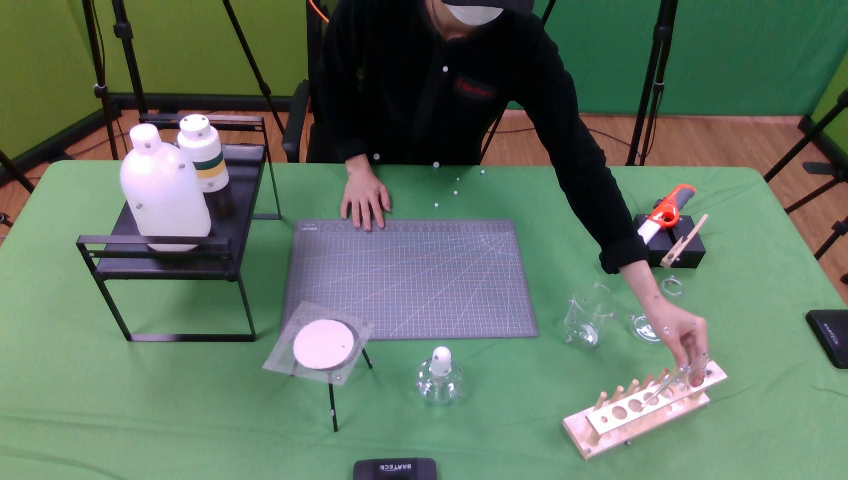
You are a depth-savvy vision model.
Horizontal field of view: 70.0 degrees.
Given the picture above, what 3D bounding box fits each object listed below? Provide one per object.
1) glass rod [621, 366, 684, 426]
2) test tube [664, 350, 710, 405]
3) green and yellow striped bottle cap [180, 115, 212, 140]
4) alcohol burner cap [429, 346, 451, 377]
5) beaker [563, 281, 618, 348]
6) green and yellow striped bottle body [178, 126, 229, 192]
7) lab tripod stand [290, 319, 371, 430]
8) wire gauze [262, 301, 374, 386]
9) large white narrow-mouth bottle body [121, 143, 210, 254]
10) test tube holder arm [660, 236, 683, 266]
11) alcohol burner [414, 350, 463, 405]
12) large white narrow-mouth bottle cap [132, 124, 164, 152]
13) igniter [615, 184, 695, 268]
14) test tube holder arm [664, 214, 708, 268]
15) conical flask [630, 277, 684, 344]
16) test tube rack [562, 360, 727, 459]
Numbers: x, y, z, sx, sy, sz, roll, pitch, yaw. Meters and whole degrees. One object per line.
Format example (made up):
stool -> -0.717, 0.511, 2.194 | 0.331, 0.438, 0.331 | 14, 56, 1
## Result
glass rod -> 0.322, 0.227, 0.866 | 0.008, 0.200, 0.008 | 6, 51, -7
test tube -> 0.389, 0.209, 0.905 | 0.017, 0.151, 0.017 | 2, 50, -3
green and yellow striped bottle cap -> -0.358, -0.177, 0.951 | 0.045, 0.020, 0.045 | 1, 44, -1
alcohol burner cap -> 0.026, 0.180, 0.912 | 0.034, 0.048, 0.033 | 2, 47, -1
beaker -> 0.283, 0.129, 1.041 | 0.074, 0.101, 0.083 | 11, 46, 7
green and yellow striped bottle body -> -0.361, -0.142, 0.989 | 0.063, 0.120, 0.063 | 2, 46, -2
lab tripod stand -> -0.146, 0.194, 0.923 | 0.148, 0.132, 0.147 | 1, 47, -1
wire gauze -> -0.151, 0.148, 0.873 | 0.121, 0.011, 0.124 | 14, 46, 12
large white narrow-mouth bottle body -> -0.377, -0.077, 0.875 | 0.102, 0.195, 0.101 | 3, 46, -3
test tube holder arm -> 0.473, 0.020, 1.149 | 0.010, 0.015, 0.088 | 37, 55, 26
alcohol burner -> 0.023, 0.205, 0.939 | 0.078, 0.120, 0.077 | 1, 47, -1
large white narrow-mouth bottle cap -> -0.370, -0.138, 0.812 | 0.038, 0.024, 0.037 | 3, 46, -3
igniter -> 0.459, -0.035, 1.196 | 0.057, 0.025, 0.276 | 32, 55, 27
test tube holder arm -> 0.507, 0.000, 1.170 | 0.013, 0.015, 0.178 | 36, 54, 25
conical flask -> 0.409, 0.117, 1.045 | 0.075, 0.122, 0.075 | 2, 46, -2
test tube rack -> 0.341, 0.247, 0.940 | 0.243, 0.085, 0.066 | -16, 49, -18
